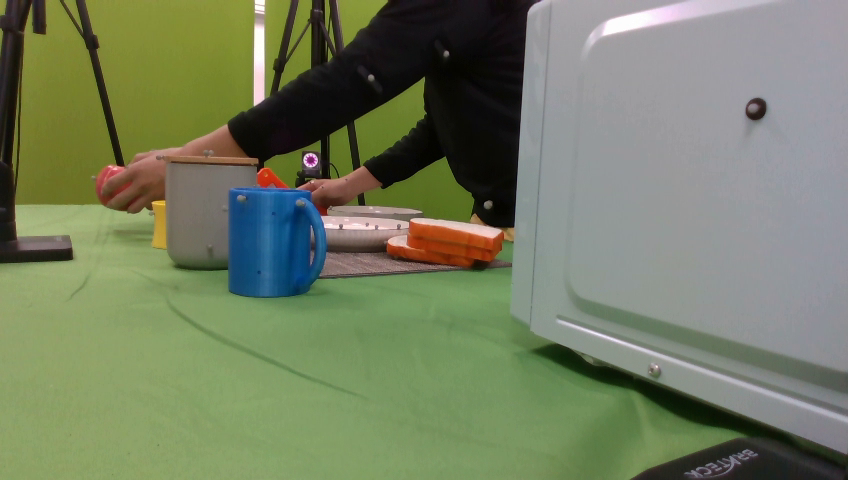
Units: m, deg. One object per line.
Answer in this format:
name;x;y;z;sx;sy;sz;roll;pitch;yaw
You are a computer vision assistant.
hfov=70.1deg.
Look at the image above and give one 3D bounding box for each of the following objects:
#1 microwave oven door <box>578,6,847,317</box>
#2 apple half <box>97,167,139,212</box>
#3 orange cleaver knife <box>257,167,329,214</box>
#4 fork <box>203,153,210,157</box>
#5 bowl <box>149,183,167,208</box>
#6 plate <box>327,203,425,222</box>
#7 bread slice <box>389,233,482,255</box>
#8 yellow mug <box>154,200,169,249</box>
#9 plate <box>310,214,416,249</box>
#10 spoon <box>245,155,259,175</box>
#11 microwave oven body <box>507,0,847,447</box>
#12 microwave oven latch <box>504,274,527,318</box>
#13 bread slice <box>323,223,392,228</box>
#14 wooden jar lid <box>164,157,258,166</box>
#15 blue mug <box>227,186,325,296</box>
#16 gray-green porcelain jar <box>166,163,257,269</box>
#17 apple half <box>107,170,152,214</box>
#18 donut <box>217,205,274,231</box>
microwave oven door;0.294;-0.067;0.570;0.358;0.243;0.039;-3;9;-31
apple half;-0.518;-0.086;1.031;0.053;0.074;0.081;10;7;33
orange cleaver knife;-0.292;-0.086;1.331;0.212;0.077;0.012;32;-8;-40
fork;-0.480;-0.134;1.411;0.028;0.018;0.207;1;-35;0
bowl;-0.459;-0.069;1.175;0.151;0.077;0.151;2;7;0
plate;-0.102;-0.053;1.299;0.209;0.038;0.209;2;8;0
bread slice;0.016;0.005;0.865;0.131;0.019;0.105;4;6;9
yellow mug;-0.337;-0.023;0.899;0.130;0.064;0.100;8;10;34
plate;-0.117;-0.014;0.968;0.208;0.039;0.207;2;8;0
spoon;-0.421;-0.150;1.540;0.042;0.193;0.021;-6;-34;-36
microwave oven body;0.331;-0.042;0.425;0.444;0.260;0.324;-2;8;-31
microwave oven latch;0.100;0.041;0.472;0.079;0.029;0.030;-2;8;-29
bread slice;-0.116;-0.013;0.975;0.135;0.018;0.106;-6;12;-42
wooden jar lid;-0.261;-0.093;0.746;0.108;0.020;0.108;1;9;0
blue mug;-0.146;0.000;0.618;0.116;0.106;0.083;7;9;32
gray-green porcelain jar;-0.263;-0.032;0.754;0.106;0.126;0.106;2;7;0
apple half;-0.485;-0.079;1.012;0.032;0.081;0.082;11;11;33
donut;-0.318;-0.038;1.080;0.099;0.048;0.099;3;7;0
